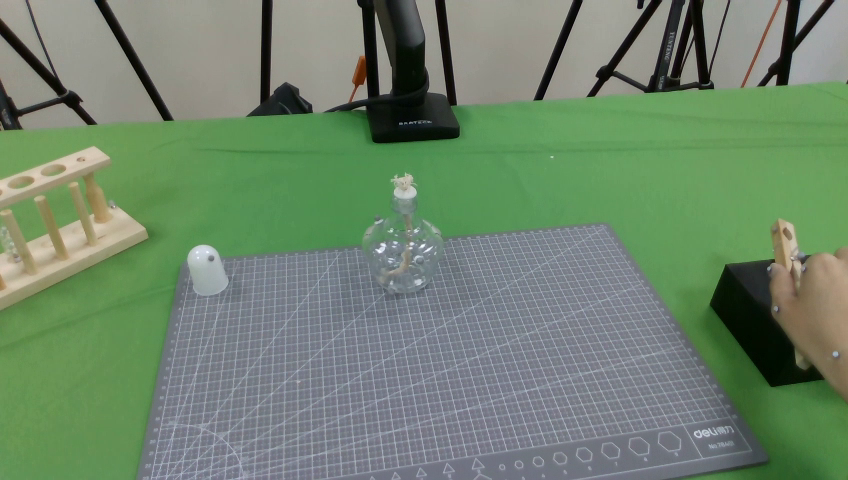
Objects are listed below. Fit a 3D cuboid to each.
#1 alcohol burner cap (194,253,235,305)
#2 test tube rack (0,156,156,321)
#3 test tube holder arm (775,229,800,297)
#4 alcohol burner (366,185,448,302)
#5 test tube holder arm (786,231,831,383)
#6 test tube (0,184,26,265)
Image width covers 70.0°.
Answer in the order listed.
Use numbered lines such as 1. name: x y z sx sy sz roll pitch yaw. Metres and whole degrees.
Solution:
1. alcohol burner cap: -0.197 0.033 0.566 0.034 0.048 0.033 2 39 -1
2. test tube rack: -0.386 0.013 0.555 0.066 0.086 0.242 29 45 32
3. test tube holder arm: 0.327 0.020 0.544 0.010 0.015 0.087 14 40 13
4. alcohol burner: -0.015 -0.001 0.558 0.078 0.120 0.077 2 39 -1
5. test tube holder arm: 0.319 0.048 0.509 0.013 0.015 0.177 12 40 11
6. test tube: -0.388 -0.042 0.545 0.017 0.151 0.017 0 32 0
